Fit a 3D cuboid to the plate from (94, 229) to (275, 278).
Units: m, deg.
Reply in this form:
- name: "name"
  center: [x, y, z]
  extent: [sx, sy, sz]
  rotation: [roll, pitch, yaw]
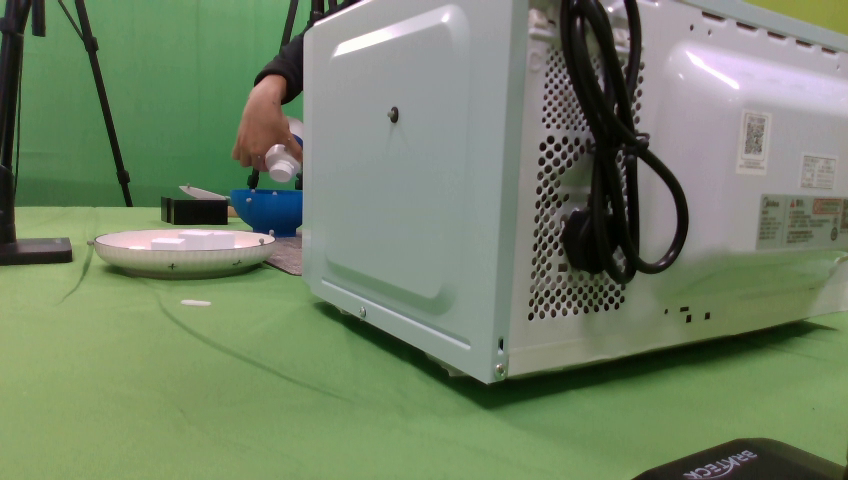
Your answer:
- name: "plate"
  center: [-0.291, 0.016, 0.749]
  extent: [0.208, 0.039, 0.207]
  rotation: [2, 7, 0]

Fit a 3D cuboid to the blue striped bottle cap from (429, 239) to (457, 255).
- name: "blue striped bottle cap"
  center: [0.029, 0.011, 0.945]
  extent: [0.044, 0.020, 0.044]
  rotation: [1, 7, 0]

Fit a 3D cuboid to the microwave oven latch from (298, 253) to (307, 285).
- name: "microwave oven latch"
  center: [-0.081, 0.028, 0.582]
  extent: [0.079, 0.029, 0.030]
  rotation: [-2, 7, -32]

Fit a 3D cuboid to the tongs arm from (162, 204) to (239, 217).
- name: "tongs arm"
  center: [-0.396, -0.066, 1.399]
  extent: [0.389, 0.028, 0.028]
  rotation: [1, 5, -15]

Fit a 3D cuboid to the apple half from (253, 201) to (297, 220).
- name: "apple half"
  center: [-0.264, -0.053, 1.066]
  extent: [0.081, 0.033, 0.081]
  rotation: [0, 9, 0]

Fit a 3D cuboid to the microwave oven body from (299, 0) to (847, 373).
- name: "microwave oven body"
  center: [0.151, -0.055, 0.542]
  extent: [0.444, 0.260, 0.324]
  rotation: [-2, 7, -33]

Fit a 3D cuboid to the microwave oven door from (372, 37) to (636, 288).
- name: "microwave oven door"
  center: [0.110, -0.080, 0.686]
  extent: [0.358, 0.243, 0.039]
  rotation: [-2, 9, -33]

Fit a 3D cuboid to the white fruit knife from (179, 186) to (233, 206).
- name: "white fruit knife"
  center: [-0.413, -0.081, 1.270]
  extent: [0.208, 0.027, 0.016]
  rotation: [17, 13, -41]

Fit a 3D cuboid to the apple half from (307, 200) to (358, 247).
- name: "apple half"
  center: [-0.135, -0.024, 0.941]
  extent: [0.053, 0.074, 0.081]
  rotation: [13, 9, 39]

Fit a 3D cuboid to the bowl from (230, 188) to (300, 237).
- name: "bowl"
  center: [-0.264, -0.048, 1.065]
  extent: [0.151, 0.077, 0.151]
  rotation: [3, 8, 0]

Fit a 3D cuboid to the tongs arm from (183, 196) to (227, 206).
- name: "tongs arm"
  center: [-0.404, -0.081, 1.479]
  extent: [0.385, 0.026, 0.050]
  rotation: [3, 8, -2]

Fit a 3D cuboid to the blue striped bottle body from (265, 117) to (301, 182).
- name: "blue striped bottle body"
  center: [-0.258, -0.165, 1.121]
  extent: [0.063, 0.120, 0.063]
  rotation: [1, -34, 1]
